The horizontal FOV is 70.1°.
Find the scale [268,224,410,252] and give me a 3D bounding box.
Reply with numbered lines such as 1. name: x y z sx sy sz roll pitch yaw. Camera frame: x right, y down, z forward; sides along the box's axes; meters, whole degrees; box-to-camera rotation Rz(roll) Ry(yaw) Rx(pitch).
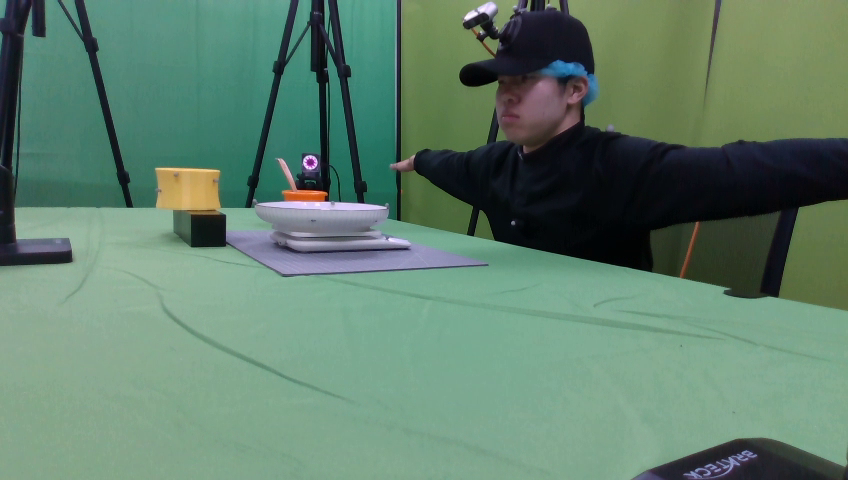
1. scale: -0.137 -0.006 0.980 0.202 0.031 0.148 -1 8 -30

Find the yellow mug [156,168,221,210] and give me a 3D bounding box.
1. yellow mug: -0.395 -0.088 1.025 0.100 0.064 0.130 2 7 -9

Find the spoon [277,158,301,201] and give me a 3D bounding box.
1. spoon: -0.272 -0.103 1.260 0.042 0.193 0.021 -4 -34 -33

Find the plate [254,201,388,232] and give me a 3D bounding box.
1. plate: -0.161 -0.038 0.961 0.209 0.038 0.209 2 6 0
